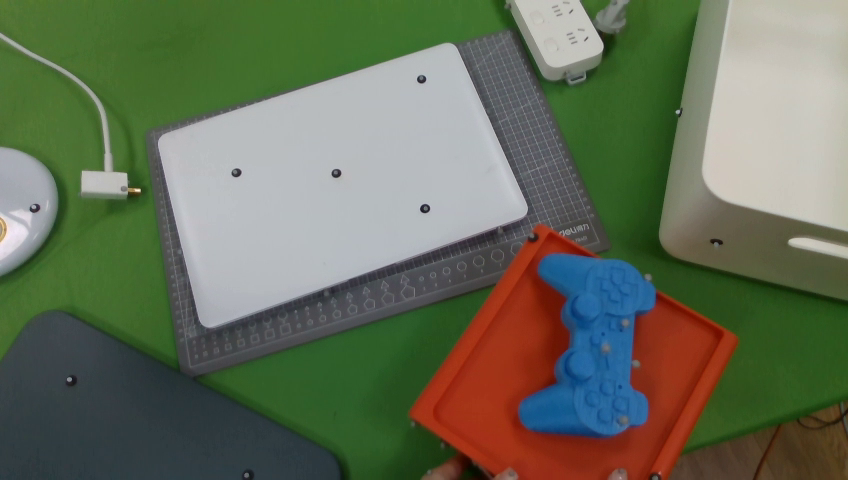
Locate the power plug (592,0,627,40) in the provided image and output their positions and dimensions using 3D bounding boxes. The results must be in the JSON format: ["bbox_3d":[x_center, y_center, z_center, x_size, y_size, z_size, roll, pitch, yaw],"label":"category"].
[{"bbox_3d":[0.225,-0.263,0.704,0.072,0.053,0.035,-37,66,-29],"label":"power plug"}]

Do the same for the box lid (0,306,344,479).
[{"bbox_3d":[-0.287,0.241,0.558,0.370,0.015,0.262,24,73,10],"label":"box lid"}]

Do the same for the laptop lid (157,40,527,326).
[{"bbox_3d":[-0.094,-0.072,0.647,0.357,0.013,0.240,-18,72,-4],"label":"laptop lid"}]

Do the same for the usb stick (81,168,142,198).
[{"bbox_3d":[-0.339,-0.061,0.657,0.059,0.021,0.027,5,71,-30],"label":"usb stick"}]

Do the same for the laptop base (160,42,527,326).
[{"bbox_3d":[-0.093,-0.070,0.659,0.354,0.023,0.234,-19,73,-4],"label":"laptop base"}]

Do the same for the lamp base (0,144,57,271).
[{"bbox_3d":[-0.497,-0.069,0.594,0.178,0.181,0.160,41,76,19],"label":"lamp base"}]

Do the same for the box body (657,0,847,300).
[{"bbox_3d":[0.388,-0.138,0.583,0.253,0.161,0.362,14,71,8],"label":"box body"}]

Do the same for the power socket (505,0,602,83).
[{"bbox_3d":[0.138,-0.286,0.720,0.072,0.033,0.225,-18,69,-5],"label":"power socket"}]

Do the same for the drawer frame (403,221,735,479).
[{"bbox_3d":[0.124,0.125,0.538,0.200,0.083,0.213,32,74,15],"label":"drawer frame"}]

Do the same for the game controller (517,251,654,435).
[{"bbox_3d":[0.135,0.083,0.498,0.097,0.052,0.154,11,71,3],"label":"game controller"}]

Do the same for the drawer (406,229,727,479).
[{"bbox_3d":[0.124,0.126,0.536,0.193,0.074,0.211,32,75,16],"label":"drawer"}]

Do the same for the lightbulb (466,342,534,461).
[{"bbox_3d":[0.067,0.142,0.542,0.059,0.060,0.106,1,57,4],"label":"lightbulb"}]
